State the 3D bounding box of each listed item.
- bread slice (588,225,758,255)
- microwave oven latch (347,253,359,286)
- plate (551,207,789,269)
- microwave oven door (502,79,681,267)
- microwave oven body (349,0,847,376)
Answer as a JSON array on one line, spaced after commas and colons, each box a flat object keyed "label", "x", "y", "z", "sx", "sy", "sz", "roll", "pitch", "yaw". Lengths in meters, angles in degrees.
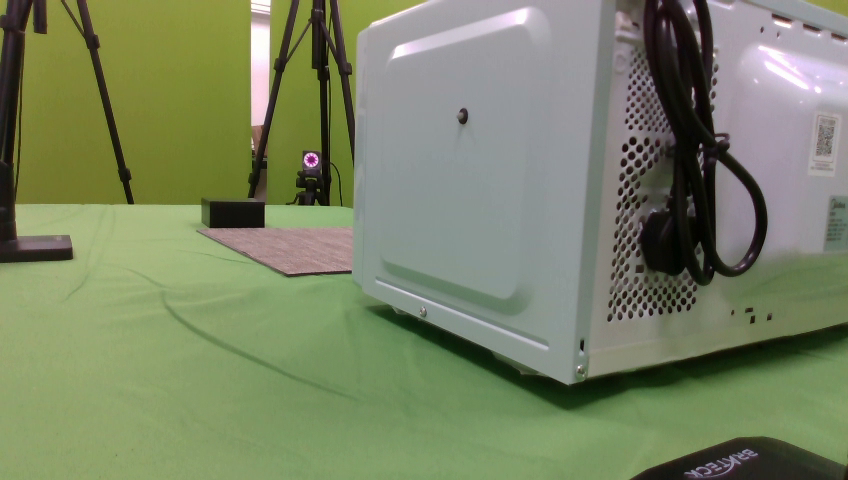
[{"label": "bread slice", "x": 0.225, "y": -0.001, "z": 0.570, "sx": 0.132, "sy": 0.019, "sz": 0.104, "roll": 2, "pitch": 6, "yaw": -22}, {"label": "microwave oven latch", "x": -0.034, "y": 0.028, "z": 0.581, "sx": 0.079, "sy": 0.029, "sz": 0.030, "roll": -1, "pitch": 7, "yaw": -31}, {"label": "plate", "x": 0.224, "y": -0.004, "z": 0.573, "sx": 0.209, "sy": 0.038, "sz": 0.209, "roll": 3, "pitch": 7, "yaw": 0}, {"label": "microwave oven door", "x": 0.233, "y": -0.105, "z": 0.926, "sx": 0.039, "sy": 0.243, "sz": 0.354, "roll": -1, "pitch": 8, "yaw": -25}, {"label": "microwave oven body", "x": 0.199, "y": -0.053, "z": 0.540, "sx": 0.444, "sy": 0.260, "sz": 0.324, "roll": -1, "pitch": 7, "yaw": -32}]
